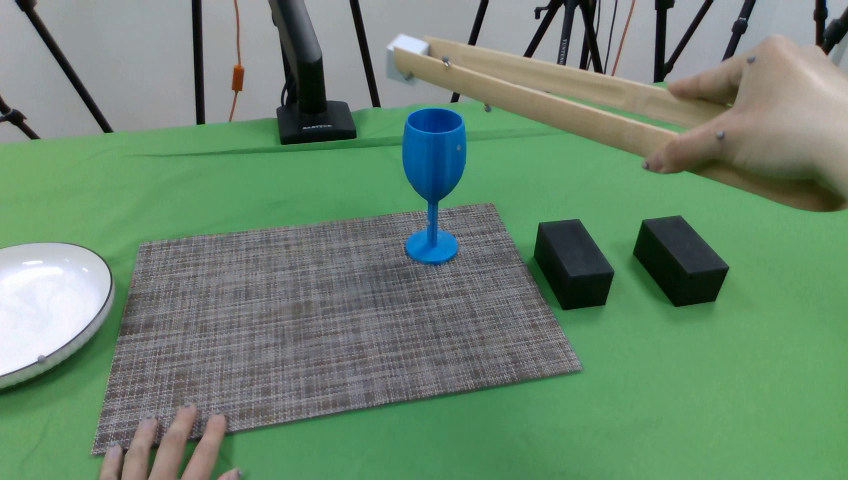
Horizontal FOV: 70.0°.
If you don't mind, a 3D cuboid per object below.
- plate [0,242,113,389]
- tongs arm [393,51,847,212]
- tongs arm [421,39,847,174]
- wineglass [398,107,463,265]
[{"bbox_3d":[-0.426,0.078,0.617,0.209,0.038,0.207,1,38,0],"label":"plate"},{"bbox_3d":[0.117,-0.100,0.463,0.051,0.027,0.381,-31,44,-30],"label":"tongs arm"},{"bbox_3d":[0.134,-0.112,0.476,0.384,0.028,0.028,28,44,36],"label":"tongs arm"},{"bbox_3d":[0.007,-0.058,0.691,0.074,0.174,0.073,1,38,0],"label":"wineglass"}]
